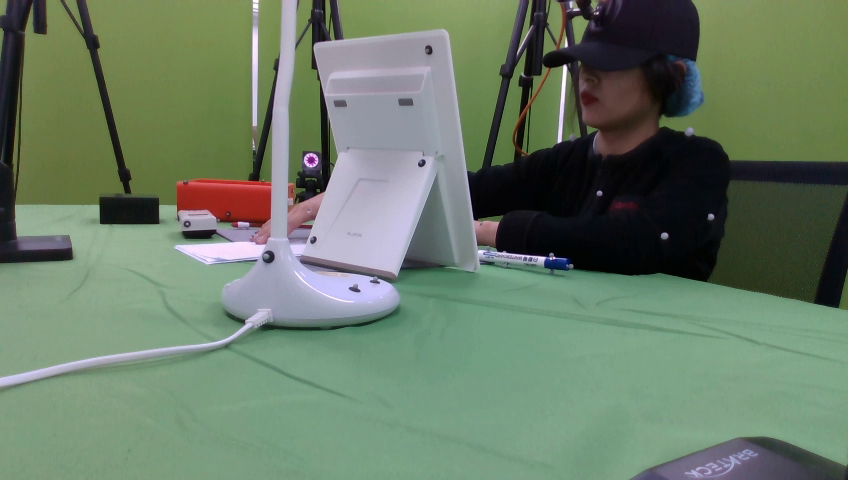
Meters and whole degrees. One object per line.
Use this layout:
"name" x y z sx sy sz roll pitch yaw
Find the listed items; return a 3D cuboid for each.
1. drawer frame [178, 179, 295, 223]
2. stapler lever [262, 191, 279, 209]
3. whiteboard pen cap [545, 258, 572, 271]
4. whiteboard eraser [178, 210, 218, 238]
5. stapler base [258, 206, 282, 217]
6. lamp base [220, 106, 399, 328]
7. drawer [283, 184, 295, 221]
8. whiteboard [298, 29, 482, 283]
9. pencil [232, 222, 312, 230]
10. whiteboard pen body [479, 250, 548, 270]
"drawer frame" -0.397 -0.088 1.315 0.214 0.082 0.201 1 8 -7
"stapler lever" -0.329 -0.086 1.306 0.027 0.040 0.118 9 3 -9
"whiteboard pen cap" 0.175 0.032 0.790 0.033 0.018 0.018 3 7 37
"whiteboard eraser" -0.380 -0.027 1.014 0.056 0.042 0.112 0 8 -25
"stapler base" -0.331 -0.065 1.305 0.041 0.024 0.130 9 -2 -9
"lamp base" -0.101 -0.023 0.531 0.160 0.180 0.179 4 10 10
"drawer" -0.394 -0.087 1.317 0.212 0.073 0.194 1 8 -7
"whiteboard" -0.075 -0.082 0.742 0.216 0.305 0.144 9 29 37
"pencil" -0.261 -0.025 1.141 0.195 0.012 0.012 2 7 -26
"whiteboard pen body" 0.130 0.028 0.827 0.140 0.017 0.017 7 9 38
